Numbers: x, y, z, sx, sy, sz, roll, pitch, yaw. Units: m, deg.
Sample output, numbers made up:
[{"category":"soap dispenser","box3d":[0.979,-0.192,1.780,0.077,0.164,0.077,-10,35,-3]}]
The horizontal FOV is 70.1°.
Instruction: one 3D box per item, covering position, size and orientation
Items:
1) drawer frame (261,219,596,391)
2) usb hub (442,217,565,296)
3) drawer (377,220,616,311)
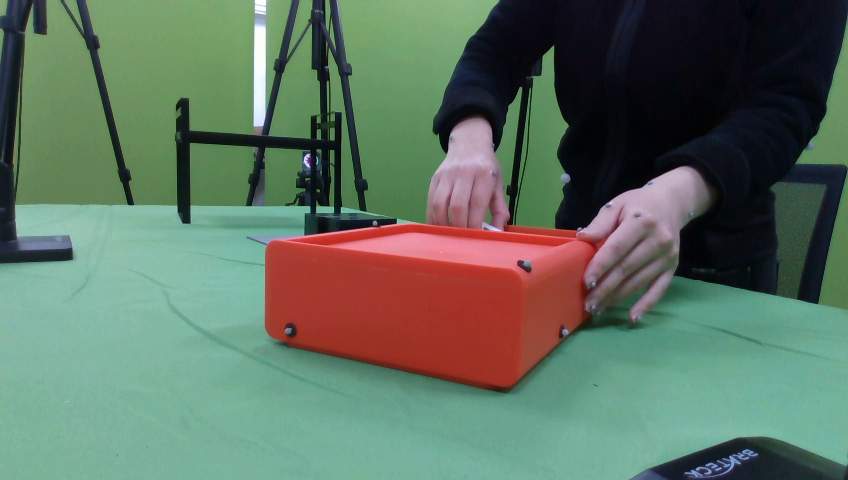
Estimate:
[{"category":"drawer frame","box3d":[0.017,0.036,0.494,0.201,0.082,0.214,6,9,26]},{"category":"usb hub","box3d":[0.079,0.014,0.622,0.124,0.025,0.050,31,31,35]},{"category":"drawer","box3d":[0.062,0.027,0.579,0.193,0.073,0.213,7,8,28]}]
